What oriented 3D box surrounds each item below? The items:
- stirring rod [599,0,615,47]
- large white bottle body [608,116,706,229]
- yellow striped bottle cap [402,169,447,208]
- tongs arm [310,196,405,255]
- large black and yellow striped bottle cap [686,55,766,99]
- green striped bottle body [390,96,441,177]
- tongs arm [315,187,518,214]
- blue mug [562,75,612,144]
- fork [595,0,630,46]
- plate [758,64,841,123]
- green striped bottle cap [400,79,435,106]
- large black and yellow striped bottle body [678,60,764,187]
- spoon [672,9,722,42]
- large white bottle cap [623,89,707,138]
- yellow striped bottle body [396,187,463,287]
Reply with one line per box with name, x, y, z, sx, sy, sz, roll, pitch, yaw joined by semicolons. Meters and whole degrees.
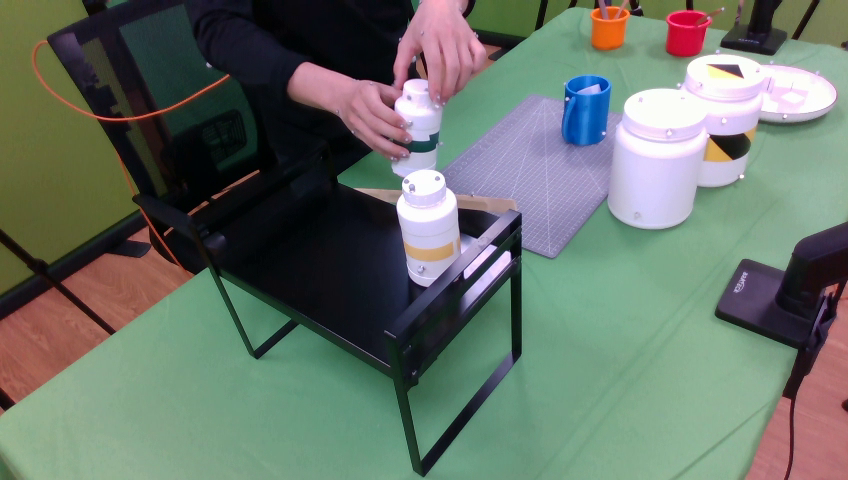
stirring rod;0.437;-0.551;1.462;0.014;0.006;0.175;-11;83;1
large white bottle body;0.361;-0.123;0.942;0.130;0.185;0.130;-5;41;5
yellow striped bottle cap;0.000;-0.052;0.605;0.044;0.019;0.044;-5;43;5
tongs arm;-0.078;-0.013;0.943;0.028;0.028;0.384;-42;39;-23
large black and yellow striped bottle cap;0.474;-0.258;0.952;0.115;0.019;0.114;-5;41;5
green striped bottle body;-0.011;-0.148;0.806;0.063;0.119;0.063;4;38;-3
tongs arm;-0.028;-0.060;0.988;0.382;0.027;0.051;9;44;36
blue mug;0.298;-0.239;1.143;0.117;0.106;0.081;-37;48;-29
fork;0.479;-0.556;1.452;0.028;0.019;0.207;41;103;39
plate;0.694;-0.283;1.189;0.207;0.039;0.206;-4;40;4
green striped bottle cap;-0.008;-0.189;0.774;0.044;0.020;0.044;5;37;-3
large black and yellow striped bottle body;0.482;-0.196;1.008;0.131;0.185;0.130;-4;41;4
spoon;0.606;-0.476;1.345;0.042;0.021;0.193;-6;-3;-2
large white bottle cap;0.352;-0.187;0.886;0.115;0.018;0.114;-4;41;4
yellow striped bottle body;0.006;-0.013;0.638;0.063;0.121;0.062;-5;41;5
